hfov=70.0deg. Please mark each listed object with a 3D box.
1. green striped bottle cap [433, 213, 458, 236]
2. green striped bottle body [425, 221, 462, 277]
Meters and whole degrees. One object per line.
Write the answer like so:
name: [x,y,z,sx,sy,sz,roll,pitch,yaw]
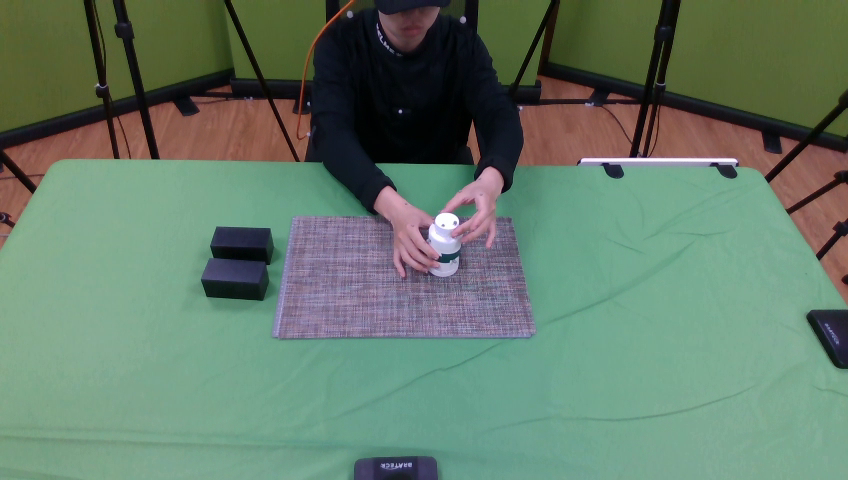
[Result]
green striped bottle cap: [0.039,-0.029,1.084,0.044,0.020,0.044,4,43,-3]
green striped bottle body: [0.037,0.007,1.121,0.063,0.120,0.063,2,46,-2]
